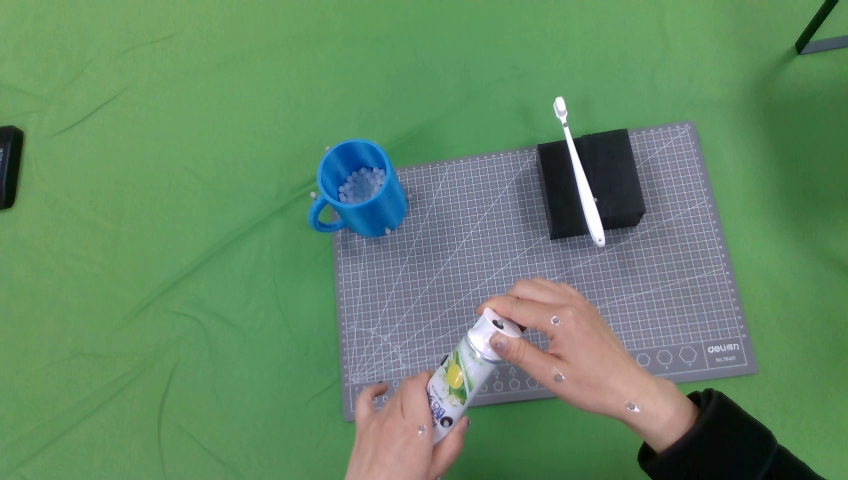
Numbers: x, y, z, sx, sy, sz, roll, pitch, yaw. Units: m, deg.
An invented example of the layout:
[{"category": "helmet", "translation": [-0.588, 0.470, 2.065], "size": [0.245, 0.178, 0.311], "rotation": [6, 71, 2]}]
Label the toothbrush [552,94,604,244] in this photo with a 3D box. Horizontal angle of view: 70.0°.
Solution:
[{"category": "toothbrush", "translation": [0.170, -0.082, 0.667], "size": [0.014, 0.017, 0.180], "rotation": [-11, 73, -1]}]

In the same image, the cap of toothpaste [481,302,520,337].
[{"category": "cap of toothpaste", "translation": [0.057, 0.063, 0.468], "size": [0.037, 0.037, 0.011], "rotation": [39, 109, 16]}]

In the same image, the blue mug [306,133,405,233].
[{"category": "blue mug", "translation": [-0.083, -0.053, 0.697], "size": [0.116, 0.106, 0.082], "rotation": [-35, 72, -3]}]

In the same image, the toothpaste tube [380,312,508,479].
[{"category": "toothpaste tube", "translation": [0.015, 0.124, 0.497], "size": [0.165, 0.035, 0.054], "rotation": [-56, 45, 20]}]
